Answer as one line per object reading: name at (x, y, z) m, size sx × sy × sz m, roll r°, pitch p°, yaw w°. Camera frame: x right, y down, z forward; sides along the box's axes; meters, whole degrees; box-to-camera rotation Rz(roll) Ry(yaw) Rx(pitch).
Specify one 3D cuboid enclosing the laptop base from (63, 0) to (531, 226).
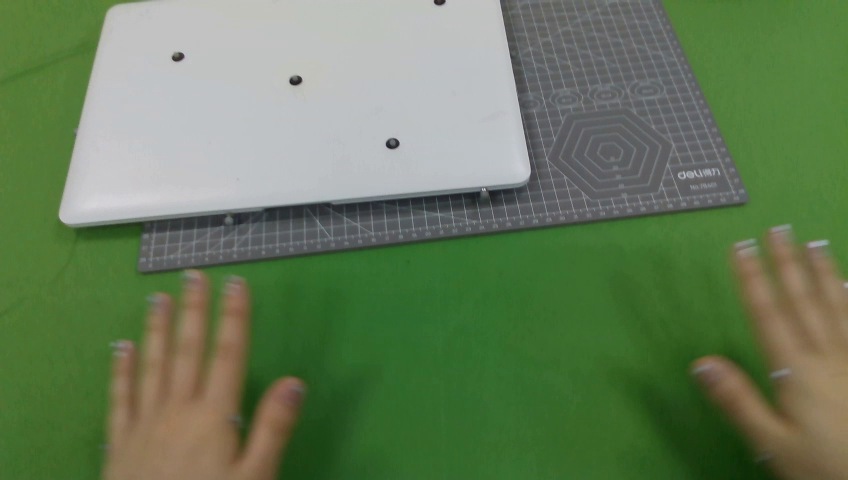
laptop base at (-0.103, -0.126, 0.507) m, size 0.354 × 0.023 × 0.233 m, roll -5°, pitch 64°, yaw 0°

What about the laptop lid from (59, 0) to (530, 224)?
laptop lid at (-0.104, -0.130, 0.495) m, size 0.357 × 0.013 × 0.239 m, roll -4°, pitch 63°, yaw 0°
